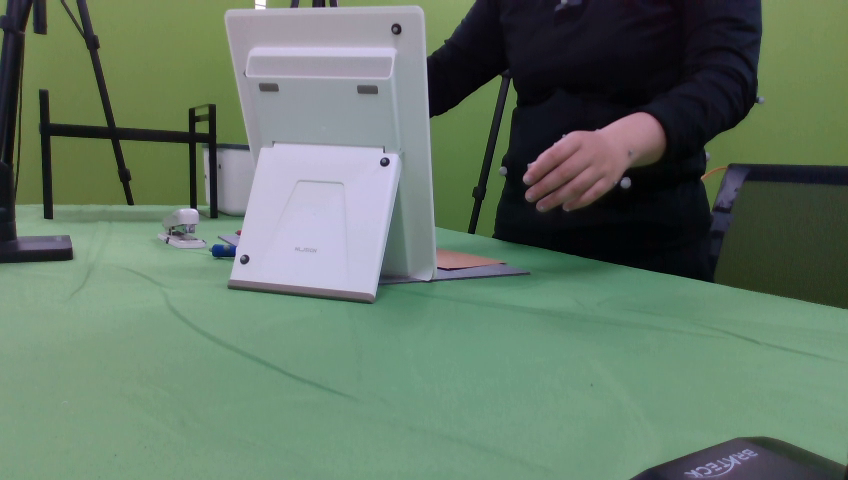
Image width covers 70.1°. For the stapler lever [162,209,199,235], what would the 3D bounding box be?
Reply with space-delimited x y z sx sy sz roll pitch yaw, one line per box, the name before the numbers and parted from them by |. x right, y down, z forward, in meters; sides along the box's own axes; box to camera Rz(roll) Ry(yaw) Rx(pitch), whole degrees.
stapler lever | -0.376 -0.031 0.933 0.027 0.040 0.117 1 7 -38

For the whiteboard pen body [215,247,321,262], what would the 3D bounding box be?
whiteboard pen body | -0.208 0.018 0.804 0.141 0.017 0.017 2 7 1

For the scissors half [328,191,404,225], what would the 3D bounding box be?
scissors half | -0.127 -0.072 1.321 0.175 0.040 0.013 22 5 -5

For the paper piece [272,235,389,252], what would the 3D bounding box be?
paper piece | -0.151 0.003 0.978 0.135 0.008 0.139 13 10 35

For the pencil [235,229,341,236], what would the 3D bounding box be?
pencil | -0.232 -0.012 1.053 0.195 0.012 0.012 0 8 -36

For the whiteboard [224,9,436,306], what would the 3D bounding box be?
whiteboard | -0.117 -0.065 0.617 0.217 0.305 0.144 5 29 16

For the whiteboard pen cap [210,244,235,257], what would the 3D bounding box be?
whiteboard pen cap | -0.266 0.015 0.806 0.033 0.018 0.018 3 7 -1

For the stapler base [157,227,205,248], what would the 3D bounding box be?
stapler base | -0.376 -0.007 0.935 0.041 0.024 0.130 1 5 -38

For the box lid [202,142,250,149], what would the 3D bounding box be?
box lid | -0.345 -0.225 1.509 0.373 0.015 0.262 -2 8 -31

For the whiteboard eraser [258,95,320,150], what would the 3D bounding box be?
whiteboard eraser | -0.203 -0.176 0.919 0.055 0.042 0.113 8 -19 14

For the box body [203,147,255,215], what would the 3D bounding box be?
box body | -0.347 -0.152 1.519 0.366 0.160 0.253 -2 9 -31

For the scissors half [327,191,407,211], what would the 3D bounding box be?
scissors half | -0.123 -0.092 1.317 0.175 0.040 0.013 6 12 -3

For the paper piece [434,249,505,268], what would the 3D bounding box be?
paper piece | 0.026 0.026 0.865 0.134 0.004 0.136 9 9 43
